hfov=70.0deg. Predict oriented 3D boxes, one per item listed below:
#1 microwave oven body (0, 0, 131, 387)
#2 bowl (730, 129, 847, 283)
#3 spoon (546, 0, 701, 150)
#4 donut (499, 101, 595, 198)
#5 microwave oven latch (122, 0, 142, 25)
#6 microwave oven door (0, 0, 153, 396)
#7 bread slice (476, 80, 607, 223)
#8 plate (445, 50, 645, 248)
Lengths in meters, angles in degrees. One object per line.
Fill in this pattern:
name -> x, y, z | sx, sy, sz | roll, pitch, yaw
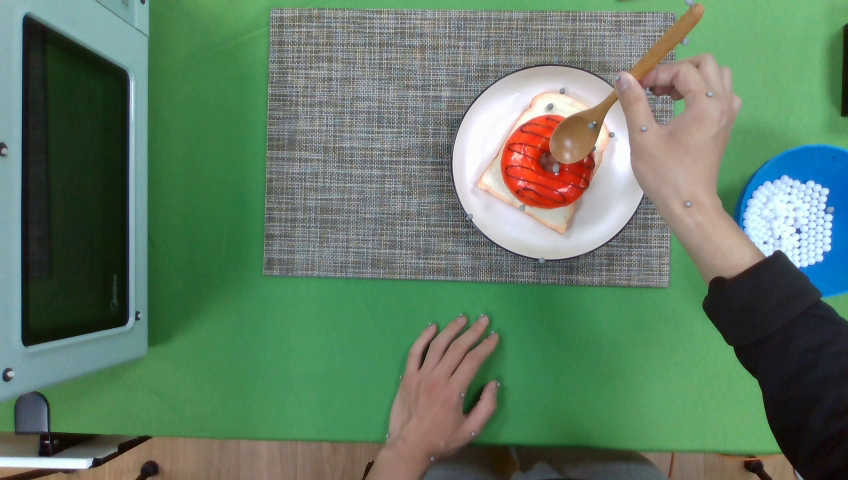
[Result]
microwave oven body -> -0.475, -0.098, 0.568 | 0.326, 0.260, 0.441 | -1, 91, 2
bowl -> 0.381, -0.032, 0.623 | 0.151, 0.077, 0.151 | 0, 90, 2
spoon -> 0.162, -0.136, 0.513 | 0.021, 0.194, 0.041 | -34, 82, -29
donut -> 0.125, -0.093, 0.623 | 0.099, 0.048, 0.099 | 0, 90, 3
microwave oven latch -> -0.324, -0.276, 0.655 | 0.030, 0.029, 0.079 | 0, 91, 2
microwave oven door -> -0.329, -0.057, 0.557 | 0.039, 0.244, 0.355 | -1, 90, 3
bread slice -> 0.130, -0.102, 0.652 | 0.107, 0.018, 0.134 | 26, 93, 2
plate -> 0.127, -0.094, 0.651 | 0.207, 0.039, 0.207 | 0, 91, 3
